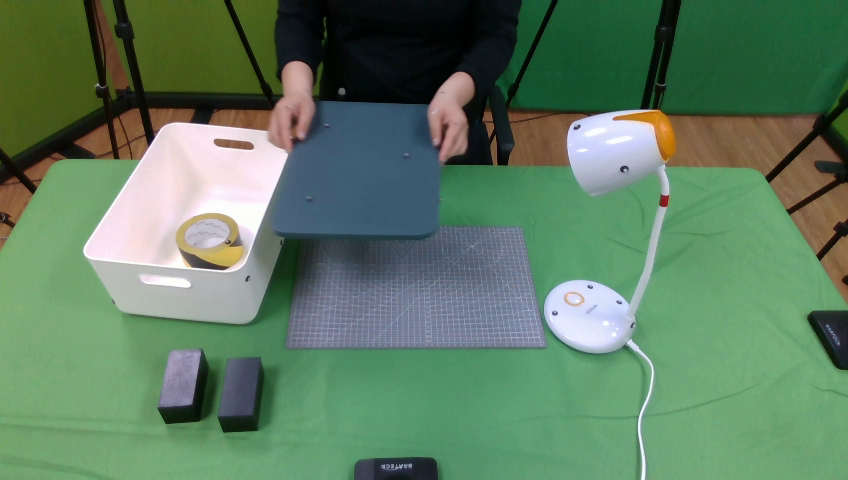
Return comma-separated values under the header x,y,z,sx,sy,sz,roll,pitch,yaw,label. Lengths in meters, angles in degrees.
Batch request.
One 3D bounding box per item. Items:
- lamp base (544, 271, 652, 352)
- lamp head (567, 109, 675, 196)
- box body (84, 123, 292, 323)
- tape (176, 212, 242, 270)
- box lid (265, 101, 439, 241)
x,y,z,sx,sy,sz,roll,pitch,yaw,label
0.309,0.086,1.029,0.178,0.181,0.160,32,52,21,lamp base
0.272,-0.123,0.818,0.122,0.113,0.112,-9,35,37,lamp head
-0.393,-0.036,1.104,0.254,0.161,0.362,5,46,1,box body
-0.401,0.005,1.133,0.117,0.053,0.116,2,46,-2,tape
-0.108,-0.132,1.038,0.263,0.015,0.369,1,45,1,box lid
